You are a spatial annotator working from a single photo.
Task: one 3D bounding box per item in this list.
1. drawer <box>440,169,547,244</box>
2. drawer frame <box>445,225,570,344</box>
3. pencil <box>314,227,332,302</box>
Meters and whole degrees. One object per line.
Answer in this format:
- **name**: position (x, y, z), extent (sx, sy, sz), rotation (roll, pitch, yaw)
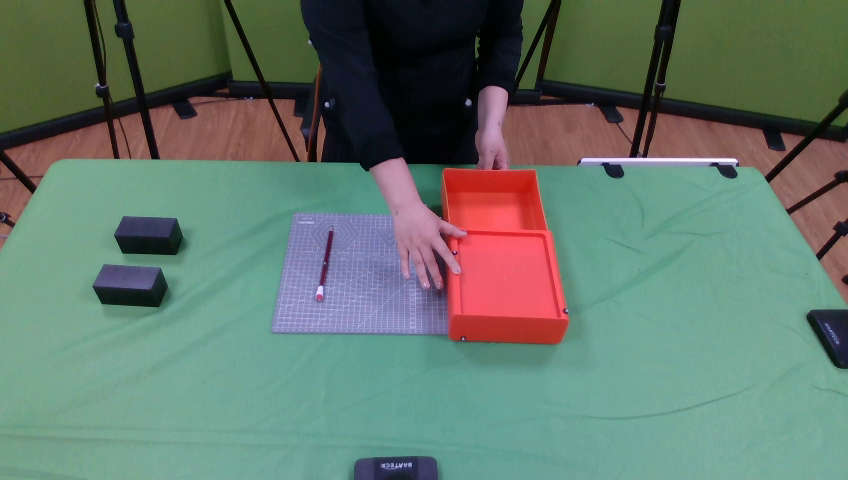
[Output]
- **drawer**: position (0.136, -0.042, 1.193), extent (0.195, 0.073, 0.210), rotation (0, 53, -5)
- **drawer frame**: position (0.141, 0.076, 1.090), extent (0.202, 0.083, 0.212), rotation (3, 46, -4)
- **pencil**: position (-0.189, 0.041, 1.148), extent (0.012, 0.012, 0.193), rotation (3, 44, -1)
